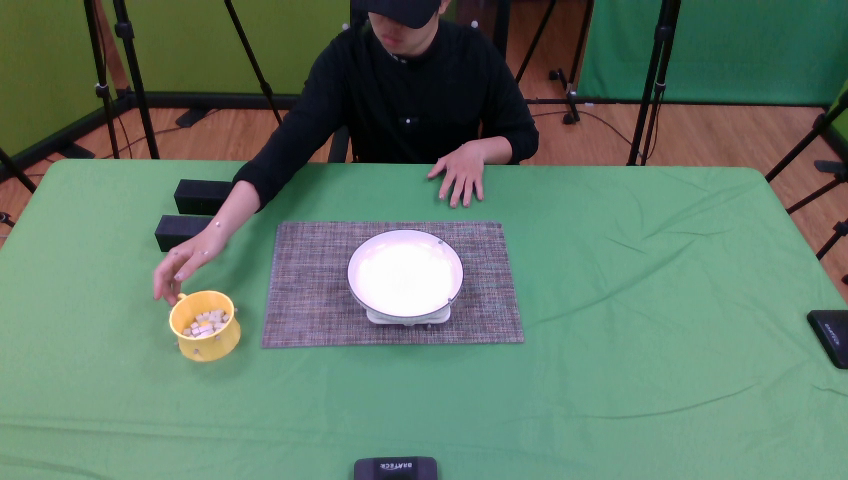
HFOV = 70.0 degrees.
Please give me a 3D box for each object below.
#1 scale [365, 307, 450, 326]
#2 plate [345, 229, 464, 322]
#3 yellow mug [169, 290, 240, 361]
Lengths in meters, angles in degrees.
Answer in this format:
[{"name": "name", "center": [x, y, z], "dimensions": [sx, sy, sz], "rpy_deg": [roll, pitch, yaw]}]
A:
[{"name": "scale", "center": [-0.032, 0.071, 1.113], "dimensions": [0.149, 0.032, 0.199], "rpy_deg": [1, 46, -4]}, {"name": "plate", "center": [-0.034, 0.065, 1.073], "dimensions": [0.209, 0.038, 0.208], "rpy_deg": [2, 46, -2]}, {"name": "yellow mug", "center": [-0.372, 0.132, 1.009], "dimensions": [0.130, 0.064, 0.100], "rpy_deg": [35, 53, 27]}]
